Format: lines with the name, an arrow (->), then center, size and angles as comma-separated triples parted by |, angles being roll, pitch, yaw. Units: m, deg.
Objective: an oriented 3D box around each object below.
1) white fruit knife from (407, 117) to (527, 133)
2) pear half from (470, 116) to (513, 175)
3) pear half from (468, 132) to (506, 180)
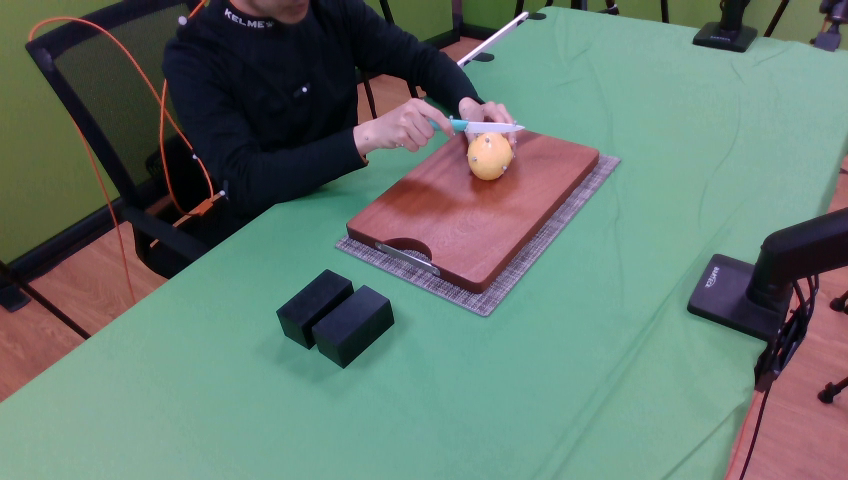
white fruit knife -> 0.067, -0.189, 1.001 | 0.206, 0.027, 0.016 | 5, 49, 17
pear half -> 0.118, -0.166, 1.032 | 0.076, 0.110, 0.056 | 15, 42, 17
pear half -> 0.102, -0.136, 1.016 | 0.070, 0.088, 0.031 | 16, 45, 16
